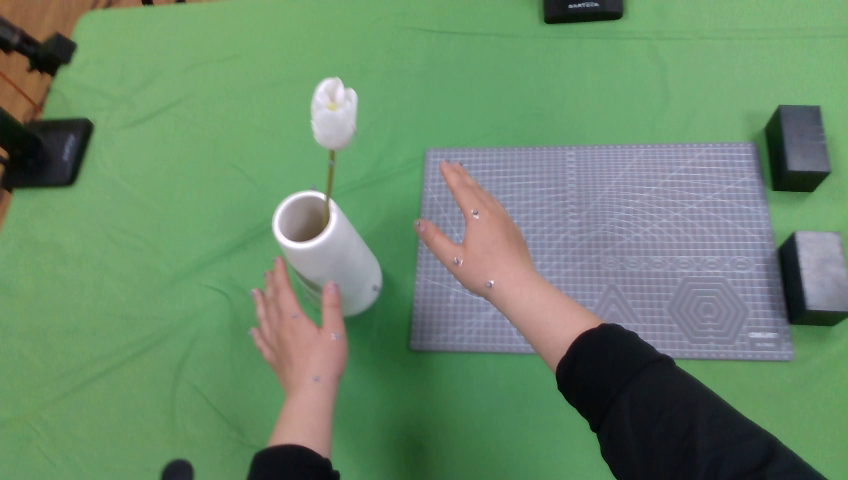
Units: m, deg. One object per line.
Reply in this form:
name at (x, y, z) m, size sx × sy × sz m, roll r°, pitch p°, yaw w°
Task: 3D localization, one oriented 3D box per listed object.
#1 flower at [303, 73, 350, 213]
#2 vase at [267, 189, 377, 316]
flower at (-0.109, -0.024, 0.637) m, size 0.038 × 0.364 × 0.043 m, roll -10°, pitch 59°, yaw -18°
vase at (-0.116, 0.018, 0.708) m, size 0.098 × 0.201 × 0.097 m, roll -2°, pitch 65°, yaw 5°
